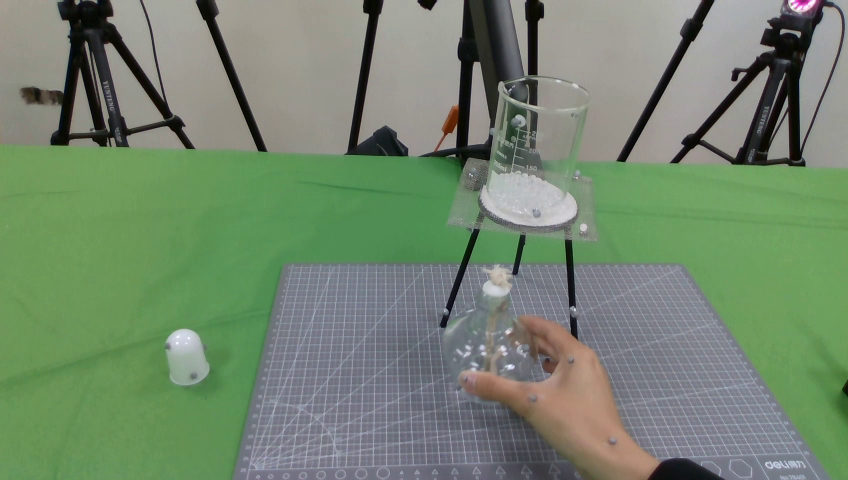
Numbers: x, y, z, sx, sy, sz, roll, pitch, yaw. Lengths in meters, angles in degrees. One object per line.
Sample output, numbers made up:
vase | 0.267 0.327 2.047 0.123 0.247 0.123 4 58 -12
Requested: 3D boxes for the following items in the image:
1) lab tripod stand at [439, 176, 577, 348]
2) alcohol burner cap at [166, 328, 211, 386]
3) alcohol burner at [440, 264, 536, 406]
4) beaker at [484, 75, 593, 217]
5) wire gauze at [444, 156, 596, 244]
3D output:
lab tripod stand | 0.090 0.019 0.567 0.148 0.132 0.147 4 34 -2
alcohol burner cap | -0.201 0.097 0.513 0.034 0.048 0.033 2 34 -1
alcohol burner | 0.051 0.071 0.477 0.078 0.120 0.077 1 32 0
beaker | 0.088 -0.077 0.504 0.074 0.101 0.083 -27 45 -38
wire gauze | 0.087 -0.036 0.530 0.121 0.011 0.124 8 37 7
